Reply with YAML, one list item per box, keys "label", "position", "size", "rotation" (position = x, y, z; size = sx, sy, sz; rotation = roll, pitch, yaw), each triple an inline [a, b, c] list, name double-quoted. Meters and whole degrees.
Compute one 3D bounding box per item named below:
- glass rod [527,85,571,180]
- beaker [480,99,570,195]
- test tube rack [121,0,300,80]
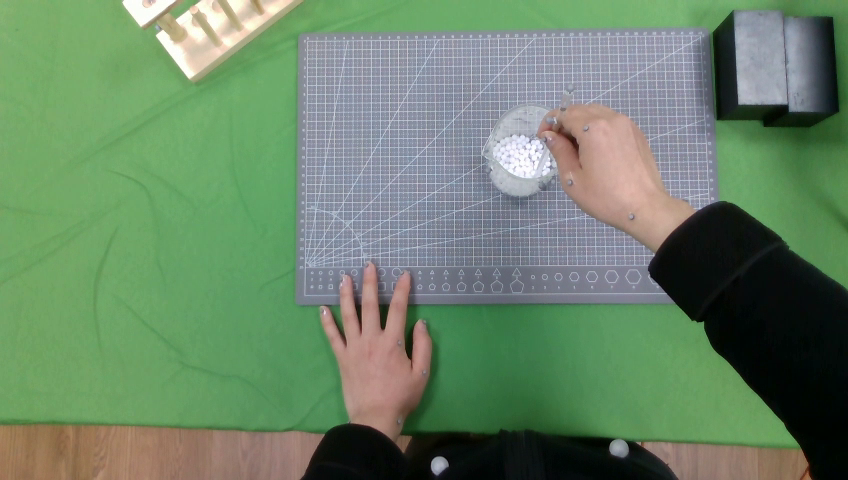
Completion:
- label: "glass rod"
  position: [0.109, -0.090, 0.546]
  size: [0.008, 0.200, 0.008]
  rotation: [0, 76, 2]
- label: "beaker"
  position: [0.095, -0.086, 0.604]
  size: [0.084, 0.100, 0.074]
  rotation: [-11, 83, 1]
- label: "test tube rack"
  position: [-0.183, -0.281, 0.637]
  size: [0.242, 0.085, 0.066]
  rotation: [-38, 84, -3]
